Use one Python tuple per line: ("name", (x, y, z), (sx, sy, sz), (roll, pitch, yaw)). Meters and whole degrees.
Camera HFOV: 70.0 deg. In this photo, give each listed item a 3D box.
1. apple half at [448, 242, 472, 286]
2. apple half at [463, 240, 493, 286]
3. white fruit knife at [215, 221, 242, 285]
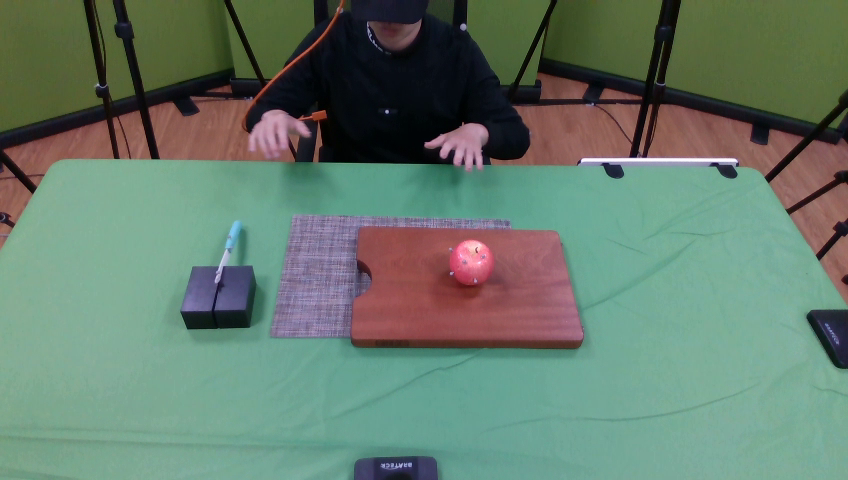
("apple half", (0.059, 0.046, 1.085), (0.033, 0.081, 0.080), (-4, 46, -13))
("apple half", (0.097, 0.042, 1.093), (0.053, 0.075, 0.080), (-3, 42, -13))
("white fruit knife", (-0.360, 0.019, 1.114), (0.016, 0.027, 0.206), (-2, 32, -5))
